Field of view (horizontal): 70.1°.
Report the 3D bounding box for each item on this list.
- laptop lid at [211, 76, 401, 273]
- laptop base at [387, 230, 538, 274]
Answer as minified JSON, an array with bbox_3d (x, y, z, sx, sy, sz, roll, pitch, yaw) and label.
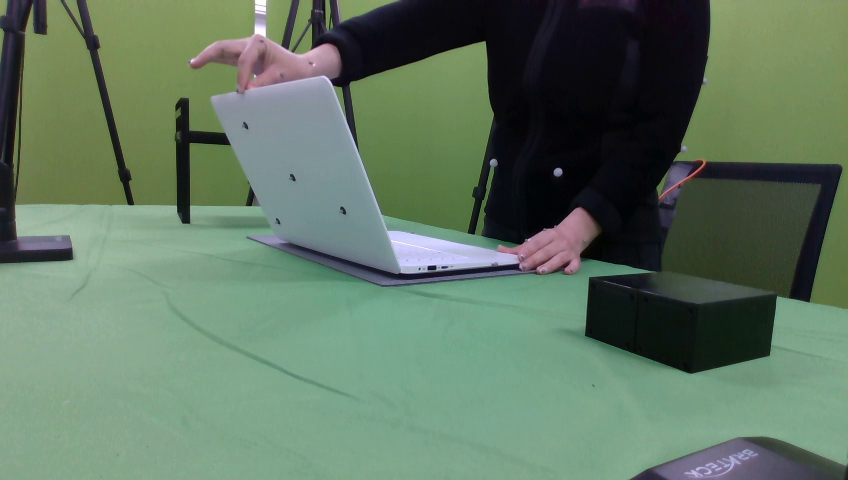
[{"bbox_3d":[-0.167,-0.083,0.778,0.013,0.242,0.355,-34,28,-29],"label":"laptop lid"},{"bbox_3d":[-0.037,0.014,0.895,0.237,0.023,0.352,1,7,-38],"label":"laptop base"}]
